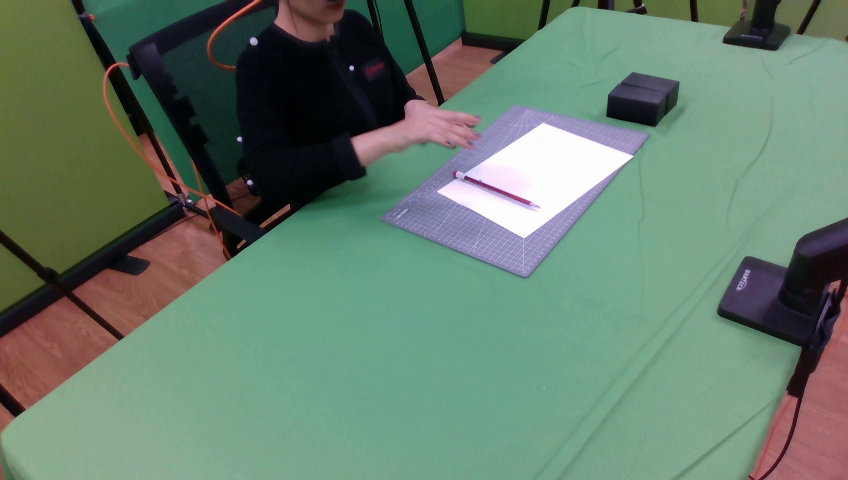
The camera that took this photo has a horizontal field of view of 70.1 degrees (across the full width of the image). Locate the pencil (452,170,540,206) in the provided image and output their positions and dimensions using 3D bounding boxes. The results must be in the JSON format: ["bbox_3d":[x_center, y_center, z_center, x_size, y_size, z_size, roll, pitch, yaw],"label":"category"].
[{"bbox_3d":[0.125,-0.091,1.069,0.192,0.012,0.012,26,52,35],"label":"pencil"}]
